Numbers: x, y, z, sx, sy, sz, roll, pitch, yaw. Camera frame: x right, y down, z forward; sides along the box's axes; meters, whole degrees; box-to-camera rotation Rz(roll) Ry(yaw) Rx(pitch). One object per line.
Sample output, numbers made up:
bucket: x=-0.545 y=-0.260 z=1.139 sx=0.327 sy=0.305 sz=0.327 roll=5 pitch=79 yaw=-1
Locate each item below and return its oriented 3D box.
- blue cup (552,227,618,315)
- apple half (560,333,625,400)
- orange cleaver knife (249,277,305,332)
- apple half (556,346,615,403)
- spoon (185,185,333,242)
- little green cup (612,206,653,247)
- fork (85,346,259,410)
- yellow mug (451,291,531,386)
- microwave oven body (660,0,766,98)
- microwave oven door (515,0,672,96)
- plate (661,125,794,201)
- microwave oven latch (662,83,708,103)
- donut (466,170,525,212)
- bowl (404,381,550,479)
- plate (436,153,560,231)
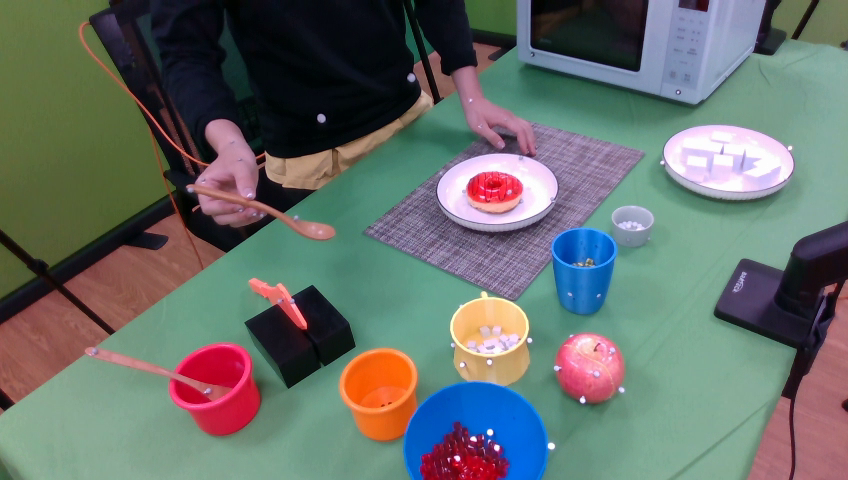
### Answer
blue cup: x=0.218 y=0.047 z=0.825 sx=0.092 sy=0.100 sz=0.092 roll=-6 pitch=39 yaw=5
apple half: x=0.209 y=0.147 z=0.730 sx=0.080 sy=0.075 sz=0.053 roll=26 pitch=47 yaw=38
orange cleaver knife: x=-0.210 y=0.088 z=0.855 sx=0.012 sy=0.077 sz=0.210 roll=-28 pitch=15 yaw=-25
apple half: x=0.181 y=0.167 z=0.709 sx=0.080 sy=0.081 sz=0.033 roll=29 pitch=51 yaw=35
spoon: x=-0.200 y=-0.035 z=0.757 sx=0.195 sy=0.021 sz=0.041 roll=24 pitch=22 yaw=-35
little green cup: x=0.321 y=-0.019 z=0.936 sx=0.061 sy=0.039 sz=0.061 roll=-4 pitch=40 yaw=4
fork: x=-0.298 y=0.166 z=0.727 sx=0.209 sy=0.018 sz=0.028 roll=28 pitch=48 yaw=-23
yellow mug: x=0.086 y=0.120 z=0.786 sx=0.100 sy=0.064 sz=0.130 roll=-7 pitch=39 yaw=2
microwave oven body: x=0.473 y=-0.513 z=1.317 sx=0.438 sy=0.261 sz=0.327 roll=26 pitch=51 yaw=34
microwave oven door: x=0.344 y=-0.455 z=1.259 sx=0.353 sy=0.245 sz=0.039 roll=26 pitch=51 yaw=33
plate: x=0.513 y=-0.128 z=1.035 sx=0.207 sy=0.039 sz=0.206 roll=-4 pitch=40 yaw=4
microwave oven latch: x=0.518 y=-0.296 z=1.204 sx=0.078 sy=0.029 sz=0.030 roll=28 pitch=52 yaw=35
donut: x=0.121 y=-0.083 z=1.019 sx=0.099 sy=0.048 sz=0.098 roll=-4 pitch=39 yaw=3
bowl: x=0.058 y=0.235 z=0.645 sx=0.151 sy=0.077 sz=0.150 roll=-4 pitch=39 yaw=4
plate: x=0.125 y=-0.078 z=1.029 sx=0.209 sy=0.038 sz=0.208 roll=-4 pitch=40 yaw=4
